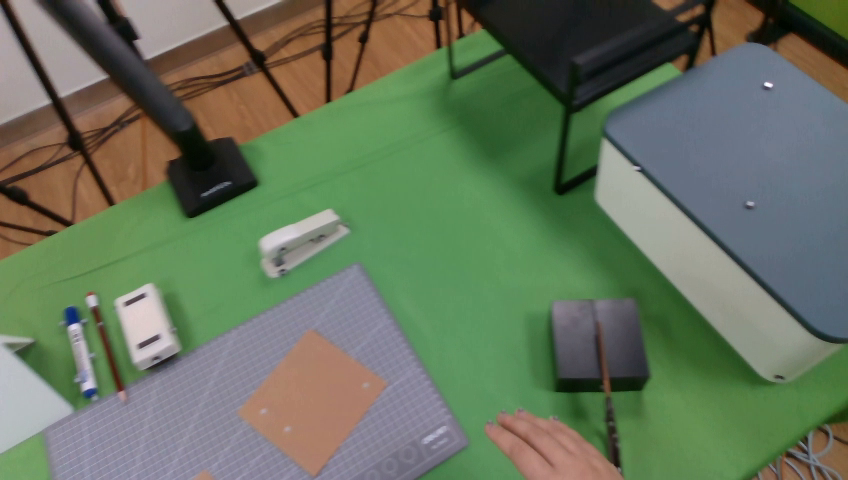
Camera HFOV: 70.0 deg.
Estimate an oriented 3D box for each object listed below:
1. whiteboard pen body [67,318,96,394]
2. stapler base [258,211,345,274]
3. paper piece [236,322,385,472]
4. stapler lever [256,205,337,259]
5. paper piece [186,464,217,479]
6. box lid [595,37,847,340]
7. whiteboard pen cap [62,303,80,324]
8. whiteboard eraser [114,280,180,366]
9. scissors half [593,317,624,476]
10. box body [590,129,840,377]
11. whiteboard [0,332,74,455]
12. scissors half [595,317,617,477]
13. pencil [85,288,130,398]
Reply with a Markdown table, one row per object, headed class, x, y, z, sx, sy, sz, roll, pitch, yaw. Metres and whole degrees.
| class | x | y | z | sx | sy | sz | roll | pitch | yaw |
| --- | --- | --- | --- | --- | --- | --- | --- | --- | --- |
| whiteboard pen body | -0.463 | 0.146 | 0.814 | 0.017 | 0.017 | 0.139 | -28 | 59 | -11 |
| stapler base | -0.178 | -0.001 | 0.869 | 0.130 | 0.024 | 0.041 | -33 | 63 | -16 |
| paper piece | -0.141 | 0.190 | 0.752 | 0.137 | 0.009 | 0.135 | 31 | 71 | 21 |
| stapler lever | -0.180 | -0.015 | 0.850 | 0.118 | 0.040 | 0.026 | -34 | 63 | -15 |
| paper piece | -0.260 | 0.344 | 0.669 | 0.134 | 0.004 | 0.135 | 38 | 68 | 25 |
| box lid | 0.401 | -0.086 | 0.684 | 0.263 | 0.015 | 0.367 | -29 | 59 | -12 |
| whiteboard pen cap | -0.490 | 0.104 | 0.842 | 0.018 | 0.018 | 0.033 | -30 | 58 | -12 |
| whiteboard eraser | -0.370 | 0.111 | 0.811 | 0.055 | 0.042 | 0.111 | -30 | 60 | -11 |
| scissors half | 0.200 | 0.167 | 0.665 | 0.013 | 0.040 | 0.173 | -6 | 61 | 8 |
| box body | 0.409 | -0.045 | 0.746 | 0.254 | 0.162 | 0.360 | -29 | 60 | -11 |
| whiteboard | -0.607 | 0.127 | 0.707 | 0.217 | 0.309 | 0.142 | -29 | 40 | -11 |
| scissors half | 0.203 | 0.174 | 0.684 | 0.013 | 0.040 | 0.174 | -4 | 78 | 3 |
| pencil | -0.428 | 0.137 | 0.819 | 0.012 | 0.012 | 0.192 | -32 | 60 | -13 |
